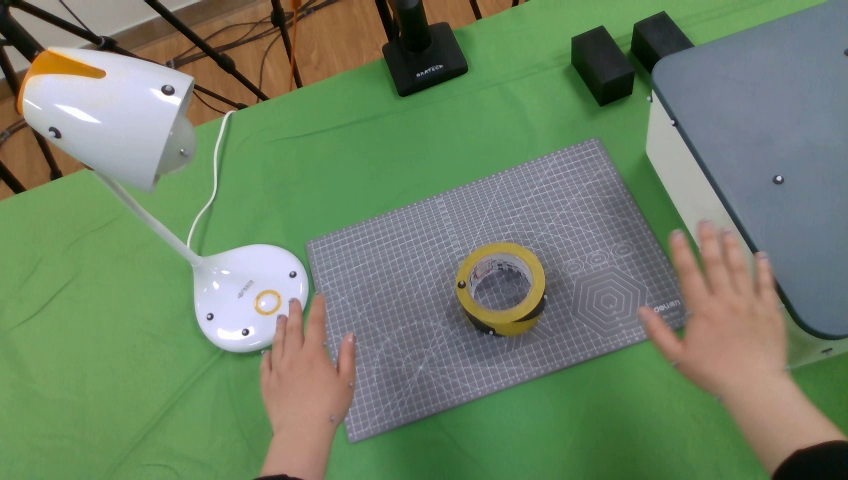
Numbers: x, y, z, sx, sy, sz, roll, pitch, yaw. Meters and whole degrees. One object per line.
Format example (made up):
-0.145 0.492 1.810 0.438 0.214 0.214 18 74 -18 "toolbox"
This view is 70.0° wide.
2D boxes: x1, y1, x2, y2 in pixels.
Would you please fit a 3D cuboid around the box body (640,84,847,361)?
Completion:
0.437 -0.069 0.695 0.254 0.162 0.360 -19 61 2 "box body"

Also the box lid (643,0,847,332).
0.422 -0.105 0.631 0.263 0.015 0.367 -19 61 2 "box lid"

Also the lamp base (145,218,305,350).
-0.269 0.038 0.780 0.178 0.182 0.160 15 67 22 "lamp base"

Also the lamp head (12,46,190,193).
-0.276 -0.109 0.519 0.123 0.112 0.111 17 64 -17 "lamp head"

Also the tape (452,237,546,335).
0.094 0.056 0.764 0.117 0.053 0.116 -5 62 9 "tape"
